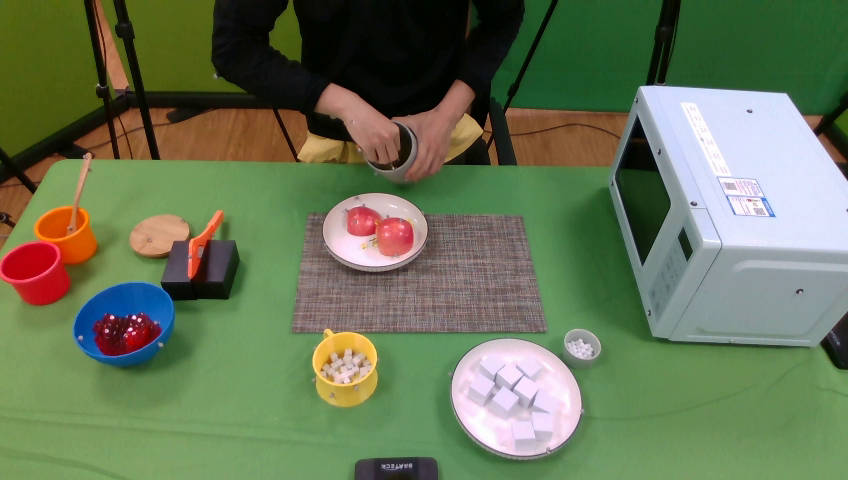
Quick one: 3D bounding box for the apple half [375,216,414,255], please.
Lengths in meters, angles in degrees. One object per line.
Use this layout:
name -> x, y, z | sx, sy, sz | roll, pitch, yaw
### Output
apple half -> -0.056, -0.017, 1.169 | 0.075, 0.053, 0.080 | 0, 45, -7

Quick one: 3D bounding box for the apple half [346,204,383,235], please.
apple half -> -0.119, -0.049, 1.207 | 0.081, 0.033, 0.081 | 2, 50, -2

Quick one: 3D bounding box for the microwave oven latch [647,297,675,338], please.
microwave oven latch -> 0.413, 0.133, 1.060 | 0.030, 0.029, 0.078 | 5, 46, 2

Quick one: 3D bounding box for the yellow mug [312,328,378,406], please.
yellow mug -> -0.132, 0.193, 0.971 | 0.100, 0.064, 0.130 | -22, 51, -22

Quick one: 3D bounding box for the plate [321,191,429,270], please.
plate -> -0.094, -0.015, 1.185 | 0.209, 0.038, 0.208 | 2, 46, -2

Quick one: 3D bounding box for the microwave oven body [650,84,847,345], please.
microwave oven body -> 0.569, -0.054, 1.116 | 0.326, 0.261, 0.439 | 2, 46, -1

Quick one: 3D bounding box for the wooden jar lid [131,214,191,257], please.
wooden jar lid -> -0.504, -0.008, 1.167 | 0.108, 0.021, 0.107 | 3, 46, -3

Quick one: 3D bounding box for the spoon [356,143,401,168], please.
spoon -> -0.078, -0.159, 1.183 | 0.021, 0.194, 0.041 | -26, 69, 17

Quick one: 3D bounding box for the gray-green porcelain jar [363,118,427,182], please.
gray-green porcelain jar -> -0.054, -0.177, 1.225 | 0.106, 0.127, 0.105 | -2, 83, 13

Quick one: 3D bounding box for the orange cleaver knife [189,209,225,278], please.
orange cleaver knife -> -0.401, 0.002, 1.122 | 0.012, 0.077, 0.210 | 3, 22, -4

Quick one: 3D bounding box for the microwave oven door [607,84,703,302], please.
microwave oven door -> 0.424, -0.096, 1.138 | 0.039, 0.245, 0.353 | 3, 46, -1

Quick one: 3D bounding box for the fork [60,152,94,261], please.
fork -> -0.638, -0.063, 1.119 | 0.028, 0.018, 0.207 | 12, 90, 8

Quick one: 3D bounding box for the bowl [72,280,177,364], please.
bowl -> -0.473, 0.147, 0.982 | 0.151, 0.077, 0.150 | 2, 46, -2

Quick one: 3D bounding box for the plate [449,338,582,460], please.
plate -> 0.141, 0.251, 0.956 | 0.208, 0.039, 0.206 | 2, 46, -2

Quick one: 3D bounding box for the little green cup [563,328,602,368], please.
little green cup -> 0.265, 0.184, 1.025 | 0.061, 0.039, 0.061 | 1, 46, -1
